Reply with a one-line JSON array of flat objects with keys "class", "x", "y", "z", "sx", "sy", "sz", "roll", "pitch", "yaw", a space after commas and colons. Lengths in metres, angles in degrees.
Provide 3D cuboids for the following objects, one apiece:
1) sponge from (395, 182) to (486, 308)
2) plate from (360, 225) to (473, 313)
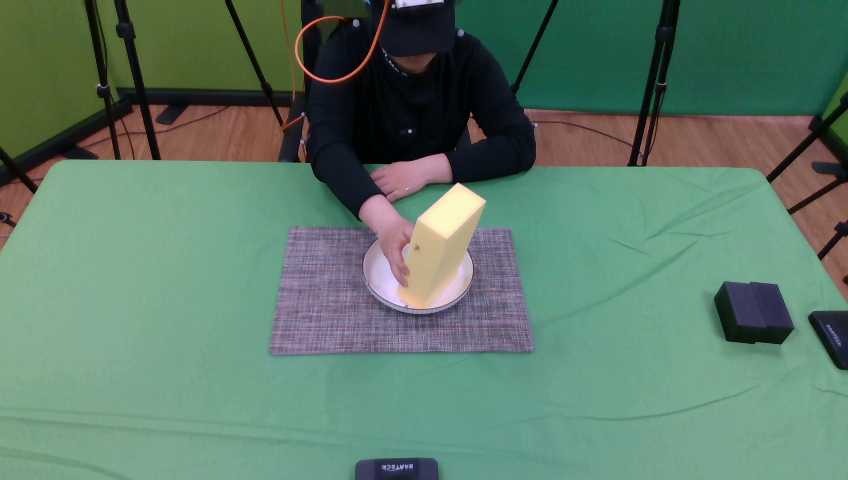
[{"class": "sponge", "x": 0.025, "y": 0.016, "z": 1.035, "sx": 0.060, "sy": 0.207, "sz": 0.118, "roll": 35, "pitch": 49, "yaw": 15}, {"class": "plate", "x": -0.014, "y": 0.057, "z": 1.126, "sx": 0.208, "sy": 0.039, "sz": 0.206, "roll": 2, "pitch": 46, "yaw": -2}]
